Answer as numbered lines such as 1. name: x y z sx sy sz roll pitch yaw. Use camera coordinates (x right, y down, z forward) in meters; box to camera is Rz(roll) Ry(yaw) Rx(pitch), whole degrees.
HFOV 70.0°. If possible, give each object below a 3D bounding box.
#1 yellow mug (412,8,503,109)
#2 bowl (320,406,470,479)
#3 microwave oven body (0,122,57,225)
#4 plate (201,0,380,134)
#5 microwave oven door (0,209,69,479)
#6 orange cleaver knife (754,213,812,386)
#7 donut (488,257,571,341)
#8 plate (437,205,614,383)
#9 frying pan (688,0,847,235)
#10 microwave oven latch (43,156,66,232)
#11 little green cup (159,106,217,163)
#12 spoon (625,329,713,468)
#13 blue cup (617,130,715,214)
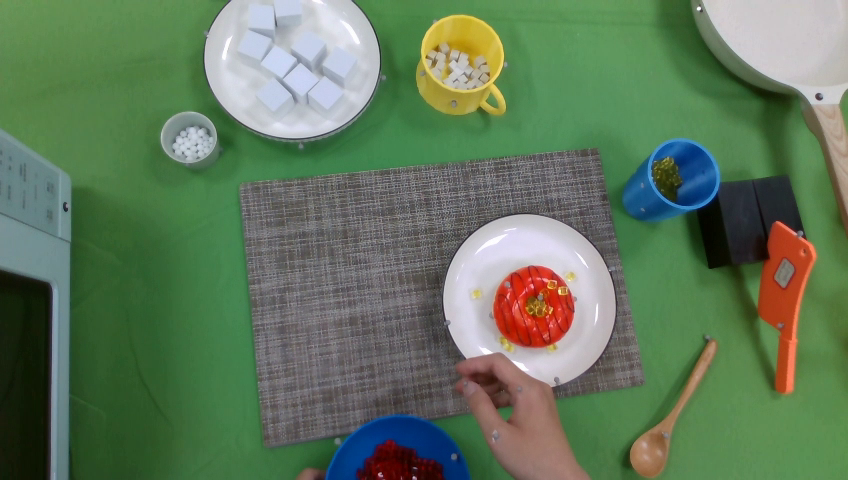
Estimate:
1. yellow mug: 0.049 -0.211 0.744 0.131 0.064 0.100 45 78 1
2. bowl: -0.033 0.251 0.647 0.151 0.077 0.150 1 79 -7
3. microwave oven body: -0.526 0.117 0.513 0.327 0.260 0.440 -4 81 -8
4. plate: -0.158 -0.224 0.735 0.208 0.039 0.207 1 80 -7
5. microwave oven door: -0.377 0.148 0.521 0.039 0.244 0.354 -4 80 -7
6. orange cleaver knife: 0.426 0.074 0.732 0.012 0.076 0.212 -8 110 -8
7. donut: 0.122 0.069 0.703 0.099 0.048 0.099 1 83 -6
8. plate: 0.117 0.063 0.714 0.209 0.038 0.208 1 81 -7
9. frying pan: 0.491 -0.238 0.782 0.307 0.103 0.484 -2 72 -6
10. microwave oven latch: -0.406 -0.049 0.655 0.030 0.029 0.079 -3 81 -8
11. little green cup: -0.270 -0.119 0.701 0.062 0.038 0.061 1 80 -8
12. spoon: 0.301 0.187 0.727 0.041 0.022 0.193 33 78 18
13. blue cup: 0.281 -0.073 0.730 0.093 0.100 0.092 2 78 -8
